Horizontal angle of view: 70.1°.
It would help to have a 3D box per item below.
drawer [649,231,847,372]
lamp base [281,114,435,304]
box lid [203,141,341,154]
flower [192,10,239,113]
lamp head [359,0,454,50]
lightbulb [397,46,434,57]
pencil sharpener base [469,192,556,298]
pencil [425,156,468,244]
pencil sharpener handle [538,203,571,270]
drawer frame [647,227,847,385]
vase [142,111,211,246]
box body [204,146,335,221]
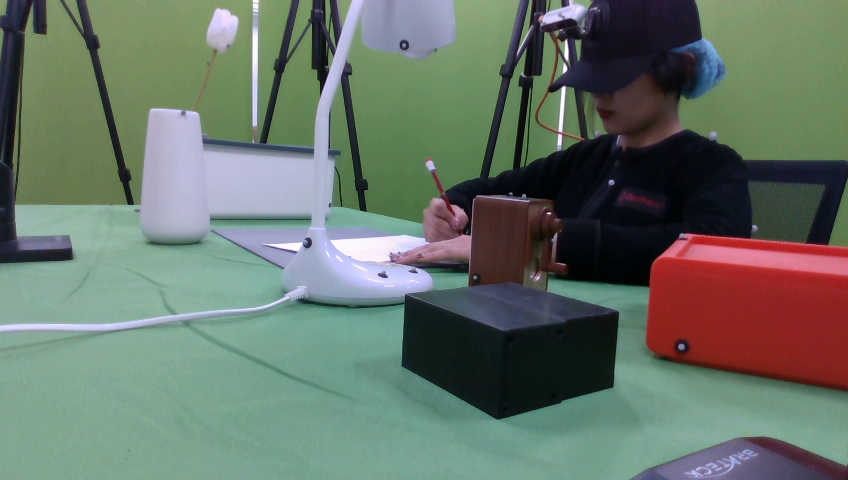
[{"bbox_3d":[0.303,0.044,0.499,0.194,0.073,0.212,7,9,27],"label":"drawer"},{"bbox_3d":[-0.071,-0.034,0.614,0.160,0.180,0.180,6,10,27],"label":"lamp base"},{"bbox_3d":[-0.396,-0.212,1.373,0.373,0.015,0.262,-1,9,-29],"label":"box lid"},{"bbox_3d":[-0.354,-0.174,0.915,0.038,0.361,0.044,18,-4,12],"label":"flower"},{"bbox_3d":[-0.024,-0.282,0.674,0.112,0.123,0.112,-3,38,3],"label":"lamp head"},{"bbox_3d":[-0.017,-0.264,0.692,0.059,0.108,0.059,-9,29,5],"label":"lightbulb"},{"bbox_3d":[0.097,0.003,0.652,0.076,0.107,0.061,8,9,38],"label":"pencil sharpener base"},{"bbox_3d":[0.037,-0.069,0.991,0.012,0.012,0.193,-2,52,-28],"label":"pencil"},{"bbox_3d":[0.137,-0.003,0.619,0.030,0.067,0.036,8,6,38],"label":"pencil sharpener handle"},{"bbox_3d":[0.303,0.043,0.495,0.201,0.082,0.214,6,9,26],"label":"drawer frame"},{"bbox_3d":[-0.378,-0.093,0.920,0.098,0.200,0.098,2,9,0],"label":"vase"},{"bbox_3d":[-0.410,-0.135,1.386,0.366,0.160,0.253,-2,9,-29],"label":"box body"}]
